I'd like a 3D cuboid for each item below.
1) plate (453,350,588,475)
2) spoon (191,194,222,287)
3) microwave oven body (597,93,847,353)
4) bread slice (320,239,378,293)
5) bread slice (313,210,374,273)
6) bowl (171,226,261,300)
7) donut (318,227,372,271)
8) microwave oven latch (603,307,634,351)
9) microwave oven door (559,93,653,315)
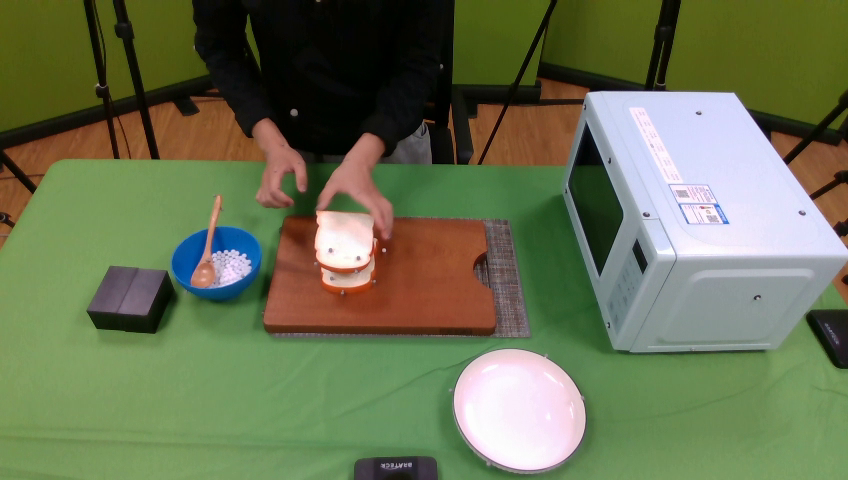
[{"bbox_3d":[0.147,0.267,0.943,0.208,0.039,0.206,2,45,-2],"label":"plate"},{"bbox_3d":[-0.383,0.000,1.088,0.041,0.022,0.193,0,66,5],"label":"spoon"},{"bbox_3d":[0.475,-0.041,1.109,0.326,0.261,0.438,-1,45,-4],"label":"microwave oven body"},{"bbox_3d":[-0.139,0.044,1.111,0.105,0.019,0.130,1,45,-3],"label":"bread slice"},{"bbox_3d":[-0.140,0.001,1.069,0.107,0.018,0.133,-1,51,-6],"label":"bread slice"},{"bbox_3d":[-0.363,0.054,1.081,0.151,0.077,0.150,3,45,-2],"label":"bowl"},{"bbox_3d":[-0.143,0.016,1.096,0.099,0.048,0.098,2,44,-2],"label":"donut"},{"bbox_3d":[0.332,0.153,1.044,0.030,0.029,0.078,0,45,-4],"label":"microwave oven latch"},{"bbox_3d":[0.327,-0.074,1.123,0.039,0.245,0.353,-1,46,-5],"label":"microwave oven door"}]
